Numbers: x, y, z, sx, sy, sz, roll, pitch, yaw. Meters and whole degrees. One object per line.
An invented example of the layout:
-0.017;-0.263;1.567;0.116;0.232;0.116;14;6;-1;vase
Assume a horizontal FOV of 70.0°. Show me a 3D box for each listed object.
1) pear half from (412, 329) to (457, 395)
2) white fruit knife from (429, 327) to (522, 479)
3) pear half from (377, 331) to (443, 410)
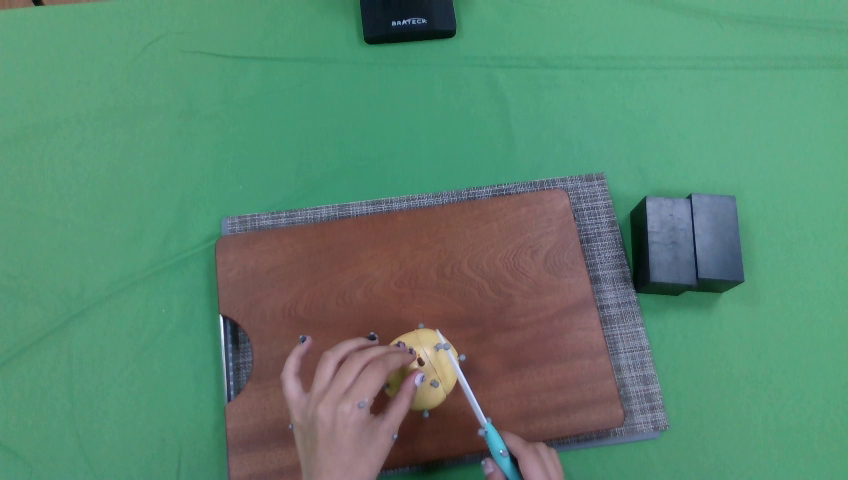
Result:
0.014;0.113;0.591;0.031;0.088;0.070;-31;70;-11;pear half
0.052;0.167;0.538;0.016;0.027;0.208;-30;98;-18;white fruit knife
-0.017;0.127;0.575;0.056;0.110;0.076;-31;72;-9;pear half
